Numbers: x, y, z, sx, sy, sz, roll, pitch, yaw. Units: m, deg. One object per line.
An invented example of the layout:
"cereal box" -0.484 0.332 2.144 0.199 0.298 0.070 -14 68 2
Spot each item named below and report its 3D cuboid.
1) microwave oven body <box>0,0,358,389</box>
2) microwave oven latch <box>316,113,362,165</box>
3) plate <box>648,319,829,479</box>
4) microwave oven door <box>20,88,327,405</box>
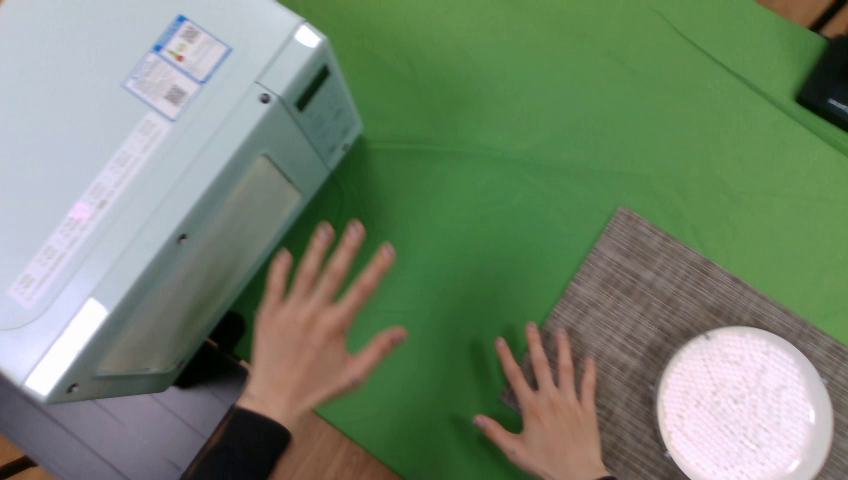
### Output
"microwave oven body" -0.343 -0.096 0.703 0.325 0.261 0.441 35 84 7
"microwave oven latch" -0.115 -0.139 0.800 0.030 0.029 0.079 38 84 8
"plate" 0.376 0.201 0.736 0.209 0.038 0.208 0 80 2
"microwave oven door" -0.249 0.019 0.675 0.039 0.245 0.355 34 83 8
